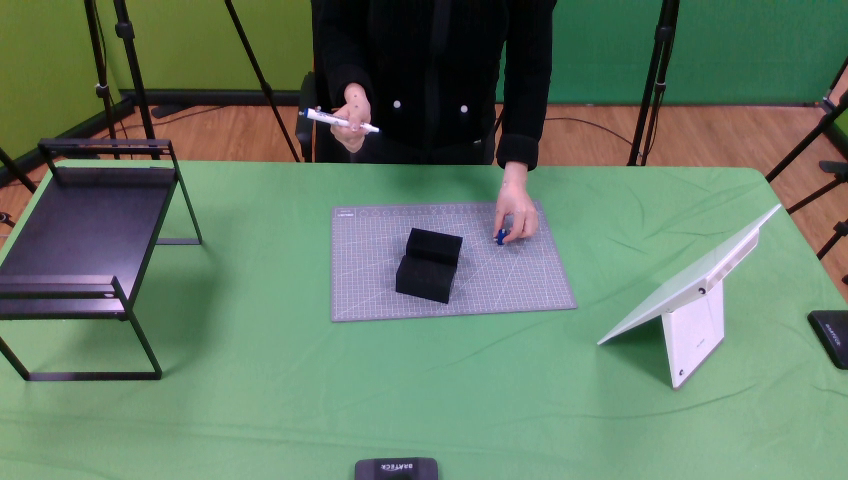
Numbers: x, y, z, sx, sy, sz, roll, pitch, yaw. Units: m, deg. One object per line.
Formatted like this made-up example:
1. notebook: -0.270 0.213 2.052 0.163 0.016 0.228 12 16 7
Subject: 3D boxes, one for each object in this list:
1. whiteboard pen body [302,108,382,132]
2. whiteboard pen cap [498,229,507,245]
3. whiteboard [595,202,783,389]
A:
1. whiteboard pen body: -0.140 -0.206 1.053 0.141 0.017 0.017 10 43 -20
2. whiteboard pen cap: 0.155 -0.005 1.202 0.018 0.033 0.018 0 40 0
3. whiteboard: 0.459 0.112 0.968 0.217 0.306 0.143 -31 74 -29
